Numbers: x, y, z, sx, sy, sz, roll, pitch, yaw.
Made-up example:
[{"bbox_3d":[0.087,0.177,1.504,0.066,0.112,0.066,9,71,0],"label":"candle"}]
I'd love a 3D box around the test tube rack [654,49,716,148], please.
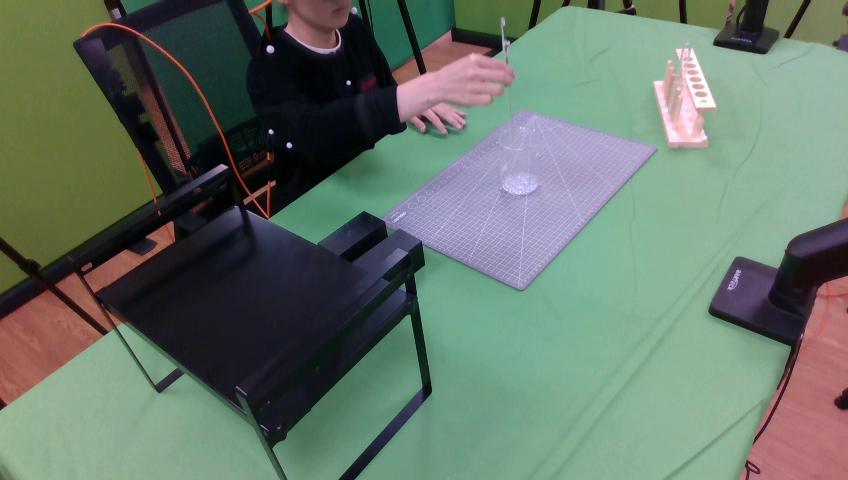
[{"bbox_3d":[0.502,-0.281,1.176,0.066,0.085,0.241,1,41,11],"label":"test tube rack"}]

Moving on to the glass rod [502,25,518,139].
[{"bbox_3d":[0.137,-0.244,0.957,0.008,0.201,0.008,-8,42,8],"label":"glass rod"}]

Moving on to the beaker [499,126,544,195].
[{"bbox_3d":[0.170,-0.136,1.045,0.073,0.101,0.084,12,44,21],"label":"beaker"}]

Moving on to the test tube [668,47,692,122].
[{"bbox_3d":[0.472,-0.285,1.117,0.017,0.151,0.017,-4,44,4],"label":"test tube"}]
